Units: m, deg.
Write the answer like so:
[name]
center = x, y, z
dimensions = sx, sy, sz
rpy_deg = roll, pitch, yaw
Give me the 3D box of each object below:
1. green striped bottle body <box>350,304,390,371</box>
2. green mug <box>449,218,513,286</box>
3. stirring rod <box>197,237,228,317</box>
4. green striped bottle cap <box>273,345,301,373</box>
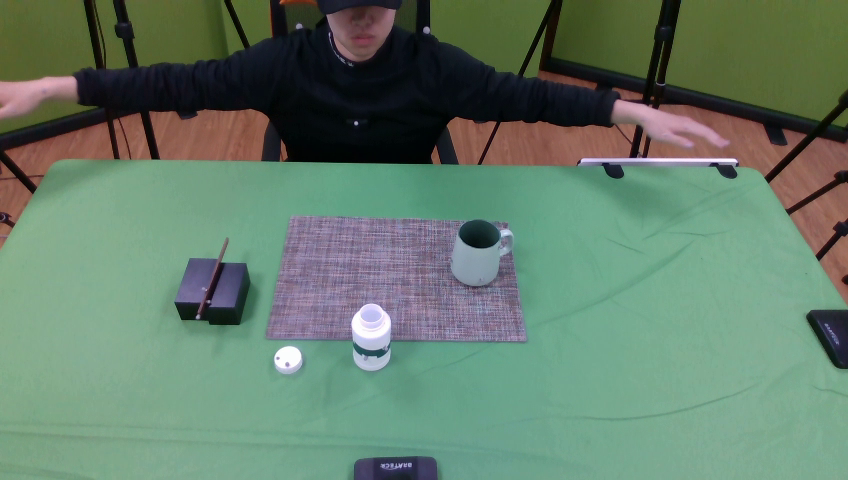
[green striped bottle body]
center = -0.086, 0.154, 0.976
dimensions = 0.063, 0.120, 0.063
rpy_deg = 2, 46, -2
[green mug]
center = 0.110, 0.018, 1.126
dimensions = 0.125, 0.105, 0.092
rpy_deg = -19, 50, -21
[stirring rod]
center = -0.363, 0.060, 1.047
dimensions = 0.006, 0.014, 0.175
rpy_deg = 7, 46, -4
[green striped bottle cap]
center = -0.225, 0.195, 0.997
dimensions = 0.044, 0.020, 0.044
rpy_deg = 1, 50, -1
